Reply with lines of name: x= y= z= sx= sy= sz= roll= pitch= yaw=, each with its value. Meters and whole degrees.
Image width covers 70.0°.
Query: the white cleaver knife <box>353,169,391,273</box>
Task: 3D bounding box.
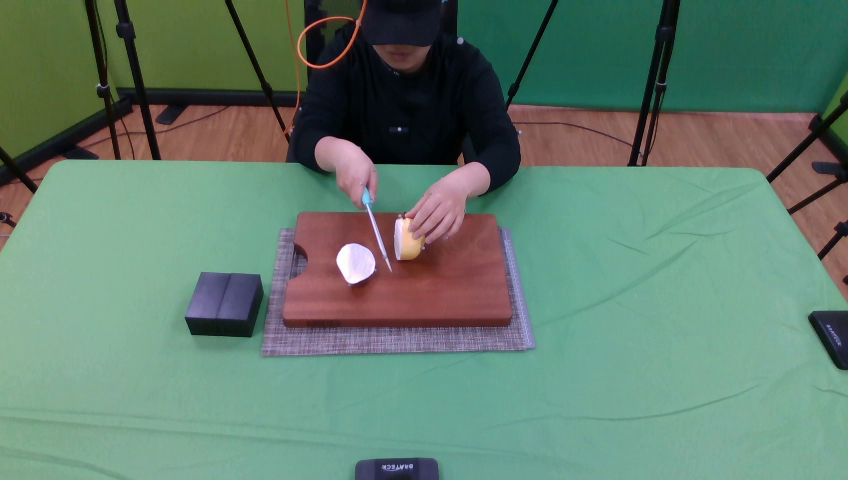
white cleaver knife: x=-0.099 y=-0.042 z=1.117 sx=0.021 sy=0.066 sz=0.284 roll=-19 pitch=40 yaw=-1

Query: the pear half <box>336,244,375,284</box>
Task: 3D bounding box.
pear half: x=-0.127 y=0.049 z=1.094 sx=0.070 sy=0.031 sz=0.087 roll=17 pitch=53 yaw=-6

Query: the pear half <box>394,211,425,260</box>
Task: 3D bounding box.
pear half: x=-0.025 y=-0.014 z=1.110 sx=0.056 sy=0.110 sz=0.076 roll=-10 pitch=51 yaw=-13
